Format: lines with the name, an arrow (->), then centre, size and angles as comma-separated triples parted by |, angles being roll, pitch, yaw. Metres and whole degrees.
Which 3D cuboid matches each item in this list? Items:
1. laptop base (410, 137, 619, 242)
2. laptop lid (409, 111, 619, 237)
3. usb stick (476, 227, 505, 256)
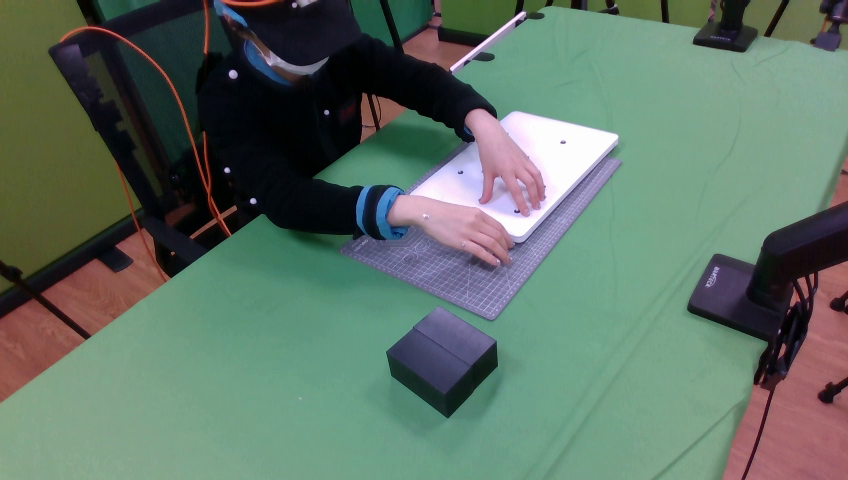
laptop base -> 0.170, -0.127, 1.096 | 0.233, 0.023, 0.355 | 21, 47, 34
laptop lid -> 0.167, -0.136, 1.089 | 0.239, 0.013, 0.358 | 24, 49, 34
usb stick -> 0.107, 0.000, 0.934 | 0.021, 0.027, 0.059 | 34, 44, 26
